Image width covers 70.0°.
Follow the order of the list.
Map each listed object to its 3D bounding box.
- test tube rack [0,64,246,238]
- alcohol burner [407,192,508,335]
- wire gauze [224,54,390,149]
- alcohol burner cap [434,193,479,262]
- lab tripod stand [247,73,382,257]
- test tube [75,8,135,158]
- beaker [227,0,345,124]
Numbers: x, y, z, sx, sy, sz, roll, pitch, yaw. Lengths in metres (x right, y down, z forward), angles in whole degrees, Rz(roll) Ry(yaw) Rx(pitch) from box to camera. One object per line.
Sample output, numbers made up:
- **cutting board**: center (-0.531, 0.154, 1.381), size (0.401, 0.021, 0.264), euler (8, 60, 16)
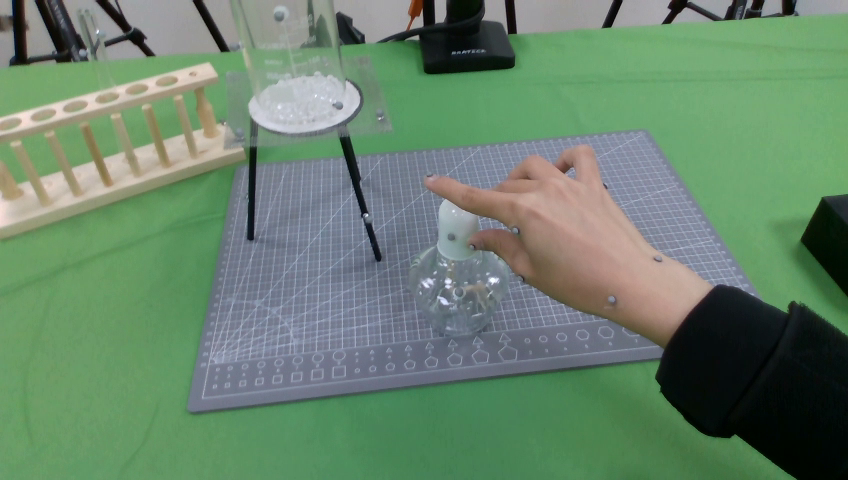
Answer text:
- **test tube rack**: center (-0.315, -0.094, 0.607), size (0.243, 0.086, 0.066), euler (-22, 47, -20)
- **alcohol burner**: center (0.025, 0.015, 0.454), size (0.078, 0.120, 0.077), euler (-1, 41, 1)
- **wire gauze**: center (-0.097, -0.111, 0.482), size (0.125, 0.011, 0.120), euler (-11, 42, -5)
- **alcohol burner cap**: center (0.023, -0.011, 0.429), size (0.034, 0.048, 0.033), euler (-2, 45, 2)
- **lab tripod stand**: center (-0.095, -0.063, 0.527), size (0.148, 0.133, 0.147), euler (-1, 45, 2)
- **test tube**: center (-0.309, -0.148, 0.591), size (0.017, 0.151, 0.017), euler (1, 37, -1)
- **beaker**: center (-0.101, -0.144, 0.445), size (0.084, 0.101, 0.073), euler (-4, 43, 0)
